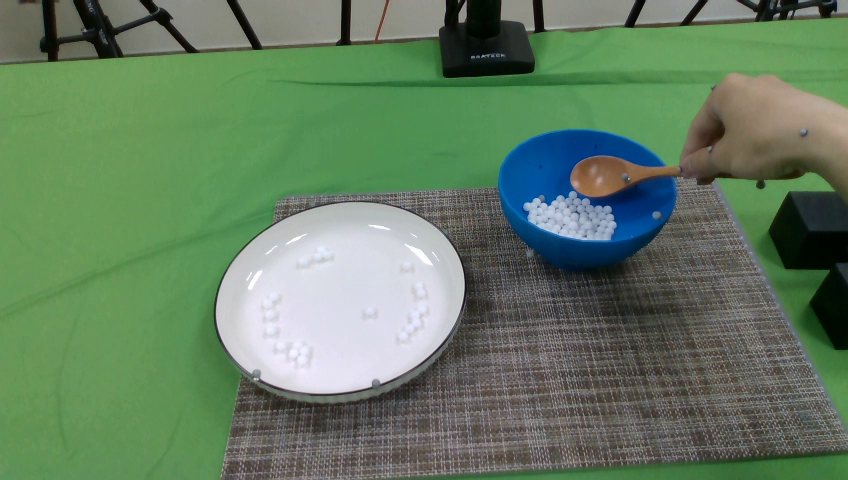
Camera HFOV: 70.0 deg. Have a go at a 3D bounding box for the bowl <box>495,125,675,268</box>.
[{"bbox_3d":[0.138,-0.028,0.546,0.151,0.077,0.150,-1,46,2],"label":"bowl"}]

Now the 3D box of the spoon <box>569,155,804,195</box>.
[{"bbox_3d":[0.200,-0.055,0.491,0.192,0.022,0.041,5,64,53],"label":"spoon"}]

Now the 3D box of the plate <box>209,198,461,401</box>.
[{"bbox_3d":[-0.072,0.048,0.515,0.207,0.039,0.205,-1,47,2],"label":"plate"}]
